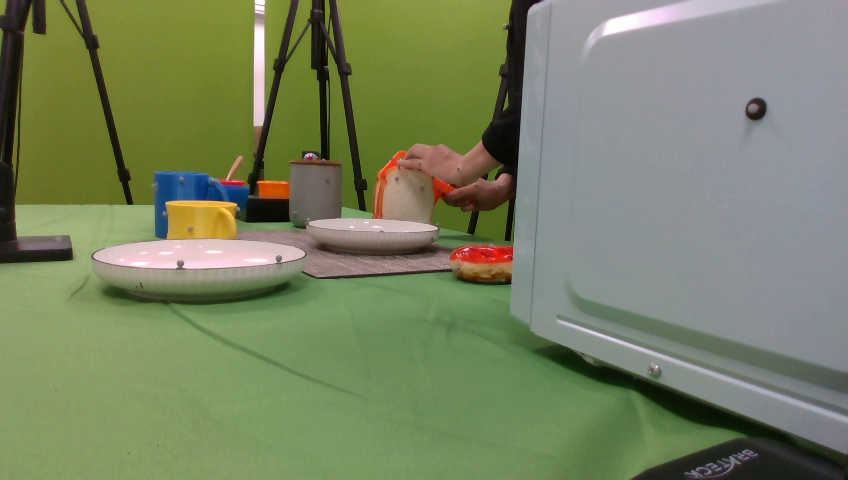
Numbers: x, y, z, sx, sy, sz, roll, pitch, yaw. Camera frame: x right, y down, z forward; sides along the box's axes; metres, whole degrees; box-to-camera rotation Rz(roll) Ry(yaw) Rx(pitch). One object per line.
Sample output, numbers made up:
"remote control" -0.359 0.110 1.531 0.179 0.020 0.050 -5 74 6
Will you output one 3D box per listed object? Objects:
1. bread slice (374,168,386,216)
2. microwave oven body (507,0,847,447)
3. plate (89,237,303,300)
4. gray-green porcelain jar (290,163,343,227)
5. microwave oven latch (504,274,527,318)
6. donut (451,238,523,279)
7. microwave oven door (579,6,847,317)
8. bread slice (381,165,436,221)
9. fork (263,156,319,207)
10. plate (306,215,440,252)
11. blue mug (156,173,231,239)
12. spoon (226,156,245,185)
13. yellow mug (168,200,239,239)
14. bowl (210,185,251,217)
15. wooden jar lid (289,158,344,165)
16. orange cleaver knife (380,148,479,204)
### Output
"bread slice" -0.047 -0.081 1.164 0.105 0.131 0.019 1 4 -25
"microwave oven body" 0.331 -0.042 0.425 0.444 0.260 0.324 -2 8 -31
"plate" -0.233 0.029 0.637 0.208 0.039 0.207 2 7 0
"gray-green porcelain jar" -0.217 -0.091 1.221 0.106 0.126 0.106 2 7 0
"microwave oven latch" 0.100 0.041 0.471 0.079 0.029 0.030 -1 8 -28
"donut" 0.083 0.022 0.745 0.099 0.048 0.099 1 5 0
"microwave oven door" 0.294 -0.067 0.570 0.358 0.243 0.039 -3 9 -31
"bread slice" -0.031 -0.071 1.113 0.107 0.134 0.018 -2 10 -19
"fork" -0.331 -0.144 1.505 0.207 0.018 0.028 -42 -20 22
"plate" -0.079 -0.011 0.950 0.209 0.038 0.209 2 8 0
"blue mug" -0.381 -0.057 1.004 0.117 0.106 0.082 0 8 -12
"spoon" -0.477 -0.145 1.492 0.041 0.022 0.193 0 51 12
"yellow mug" -0.319 -0.023 0.904 0.130 0.064 0.100 9 11 36
"bowl" -0.408 -0.064 1.155 0.151 0.077 0.151 2 8 0
"wooden jar lid" -0.215 -0.153 1.212 0.108 0.020 0.108 2 5 0
"orange cleaver knife" 0.013 -0.105 1.175 0.212 0.077 0.012 27 -1 -24
